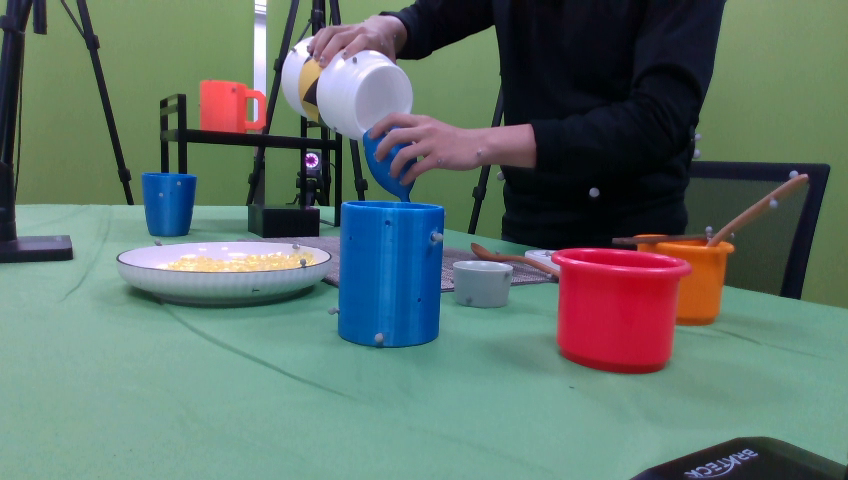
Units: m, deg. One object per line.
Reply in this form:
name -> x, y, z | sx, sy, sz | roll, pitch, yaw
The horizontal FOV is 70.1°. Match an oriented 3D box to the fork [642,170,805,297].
fork -> 0.261, 0.004, 0.545 | 0.028, 0.018, 0.207 | 5, -37, -15

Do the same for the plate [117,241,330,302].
plate -> -0.203, 0.031, 0.630 | 0.209, 0.038, 0.209 | 3, 7, 0

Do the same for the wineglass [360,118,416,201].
wineglass -> -0.034, -0.080, 0.850 | 0.074, 0.172, 0.074 | -18, -10, -3

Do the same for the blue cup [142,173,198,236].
blue cup -> -0.425, -0.060, 1.014 | 0.093, 0.100, 0.092 | 4, 9, 0

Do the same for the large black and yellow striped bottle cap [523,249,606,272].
large black and yellow striped bottle cap -> 0.198, 0.028, 0.851 | 0.115, 0.019, 0.115 | 5, 5, 0

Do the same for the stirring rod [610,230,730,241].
stirring rod -> 0.241, -0.005, 0.582 | 0.177, 0.006, 0.014 | -3, 10, -34

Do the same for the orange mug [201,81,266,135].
orange mug -> -0.377, -0.260, 1.198 | 0.126, 0.101, 0.083 | -3, 8, -6

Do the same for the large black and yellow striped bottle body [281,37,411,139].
large black and yellow striped bottle body -> -0.118, -0.230, 0.920 | 0.131, 0.130, 0.183 | -5, 26, -44

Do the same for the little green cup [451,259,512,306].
little green cup -> 0.057, 0.043, 0.611 | 0.061, 0.038, 0.061 | 3, 8, 0

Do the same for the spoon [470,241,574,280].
spoon -> 0.124, 0.025, 0.800 | 0.042, 0.021, 0.192 | 24, -6, -34

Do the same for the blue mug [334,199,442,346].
blue mug -> -0.034, 0.020, 0.498 | 0.083, 0.106, 0.116 | 0, 7, -20
